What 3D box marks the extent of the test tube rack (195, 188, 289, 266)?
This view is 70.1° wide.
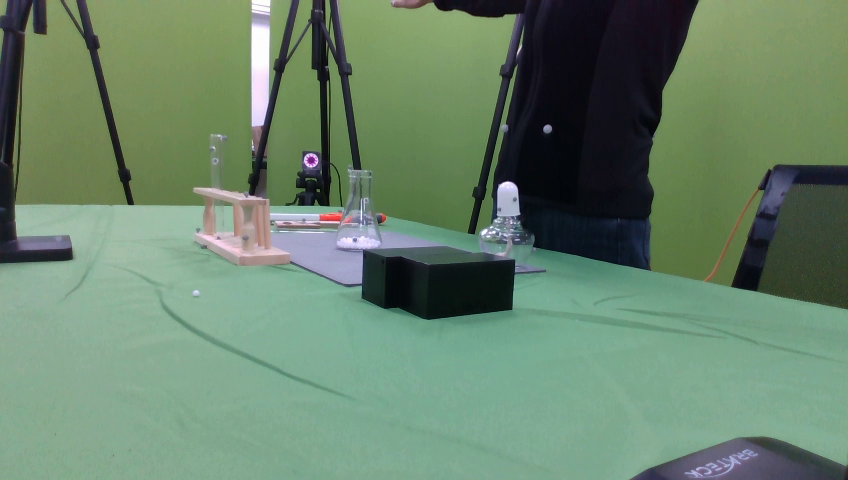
[{"bbox_3d":[-0.266,-0.025,0.864,0.067,0.085,0.241,-2,9,-33],"label":"test tube rack"}]

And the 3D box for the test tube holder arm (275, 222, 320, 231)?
[{"bbox_3d":[-0.238,-0.026,1.145,0.088,0.015,0.010,-3,45,-39],"label":"test tube holder arm"}]

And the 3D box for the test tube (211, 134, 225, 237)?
[{"bbox_3d":[-0.300,-0.079,0.881,0.017,0.150,0.017,3,12,0],"label":"test tube"}]

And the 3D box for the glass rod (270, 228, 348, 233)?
[{"bbox_3d":[-0.234,-0.017,1.104,0.201,0.008,0.008,1,7,-26],"label":"glass rod"}]

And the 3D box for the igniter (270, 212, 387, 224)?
[{"bbox_3d":[-0.213,-0.048,1.278,0.278,0.025,0.057,-1,-2,-25],"label":"igniter"}]

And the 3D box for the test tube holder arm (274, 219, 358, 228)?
[{"bbox_3d":[-0.206,-0.032,1.176,0.179,0.015,0.013,-4,46,-39],"label":"test tube holder arm"}]

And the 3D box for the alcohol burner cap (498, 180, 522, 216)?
[{"bbox_3d":[0.114,-0.056,0.810,0.034,0.048,0.034,-5,12,1],"label":"alcohol burner cap"}]

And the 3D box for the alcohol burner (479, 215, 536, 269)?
[{"bbox_3d":[0.113,-0.021,0.816,0.078,0.119,0.078,2,9,0],"label":"alcohol burner"}]

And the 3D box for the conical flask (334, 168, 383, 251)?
[{"bbox_3d":[-0.098,-0.047,0.920,0.075,0.122,0.075,3,7,0],"label":"conical flask"}]
